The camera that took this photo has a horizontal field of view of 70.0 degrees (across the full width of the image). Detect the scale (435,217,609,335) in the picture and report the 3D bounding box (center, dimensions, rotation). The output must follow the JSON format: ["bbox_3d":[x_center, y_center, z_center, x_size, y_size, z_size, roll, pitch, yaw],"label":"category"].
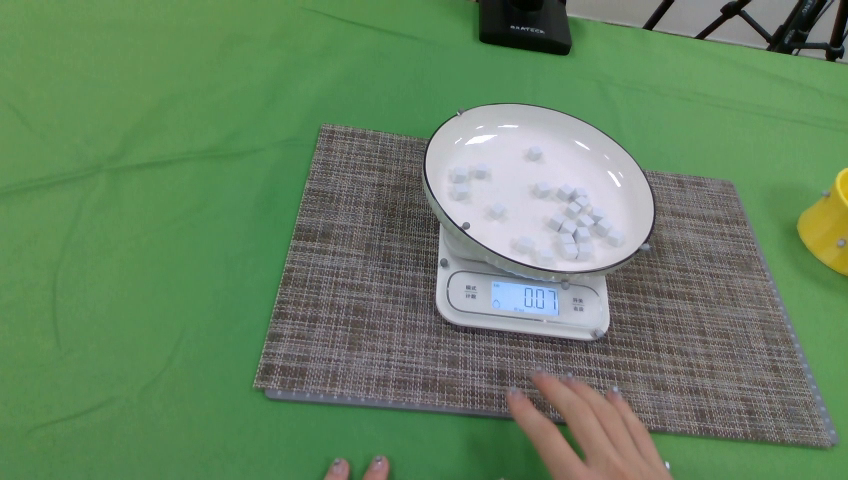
[{"bbox_3d":[0.087,-0.012,0.550,0.149,0.032,0.199,8,51,-4],"label":"scale"}]

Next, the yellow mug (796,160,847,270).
[{"bbox_3d":[0.444,-0.013,0.602,0.100,0.064,0.129,6,51,-6],"label":"yellow mug"}]

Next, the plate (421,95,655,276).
[{"bbox_3d":[0.098,-0.050,0.540,0.209,0.038,0.207,6,51,-7],"label":"plate"}]
